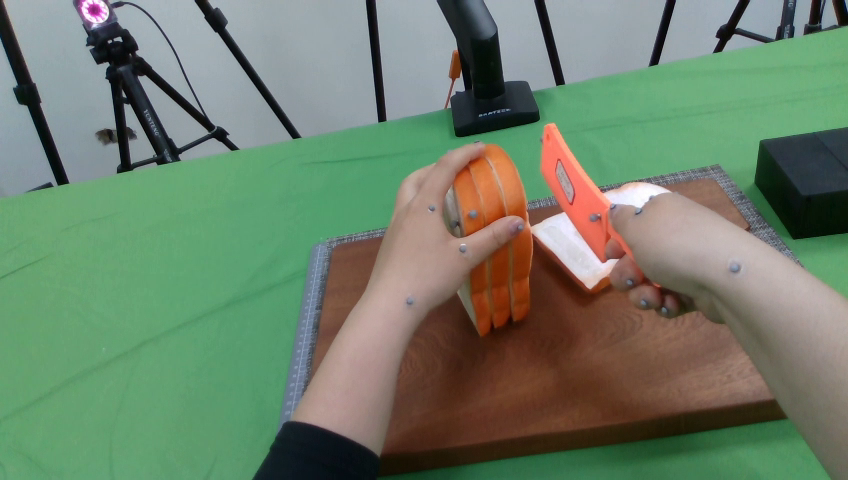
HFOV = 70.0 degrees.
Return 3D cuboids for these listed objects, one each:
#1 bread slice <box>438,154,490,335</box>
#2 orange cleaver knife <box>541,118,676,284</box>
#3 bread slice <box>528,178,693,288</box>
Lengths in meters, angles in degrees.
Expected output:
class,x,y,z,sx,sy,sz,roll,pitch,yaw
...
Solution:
class,x,y,z,sx,sy,sz,roll,pitch,yaw
bread slice,0.033,-0.005,0.513,0.018,0.135,0.106,-12,34,-7
orange cleaver knife,0.129,-0.023,0.462,0.012,0.078,0.209,-15,38,-4
bread slice,0.177,-0.012,0.556,0.131,0.019,0.103,-25,36,-7
